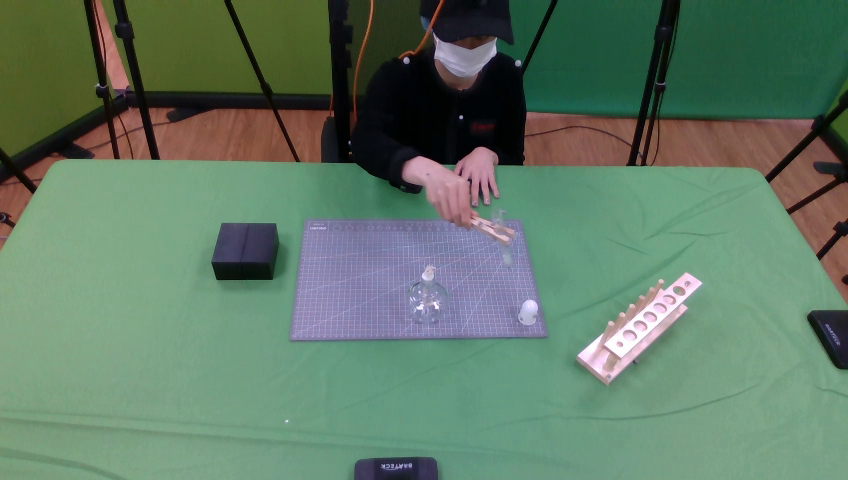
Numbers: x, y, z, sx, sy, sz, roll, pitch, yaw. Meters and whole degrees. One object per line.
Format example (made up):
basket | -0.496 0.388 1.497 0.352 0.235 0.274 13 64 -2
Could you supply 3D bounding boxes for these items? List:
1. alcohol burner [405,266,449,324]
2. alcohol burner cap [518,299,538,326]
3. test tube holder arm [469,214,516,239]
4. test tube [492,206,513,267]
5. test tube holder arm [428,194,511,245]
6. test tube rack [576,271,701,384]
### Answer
alcohol burner | 0.005 0.089 1.043 0.078 0.120 0.077 1 45 -1
alcohol burner cap | 0.186 0.126 1.072 0.034 0.048 0.033 2 45 -1
test tube holder arm | 0.107 -0.023 0.967 0.087 0.015 0.010 21 62 31
test tube | 0.126 -0.002 0.965 0.017 0.151 0.017 -8 53 11
test tube holder arm | 0.070 -0.036 0.990 0.177 0.015 0.013 30 66 34
test tube rack | 0.373 0.138 1.047 0.242 0.085 0.066 -31 56 -29
